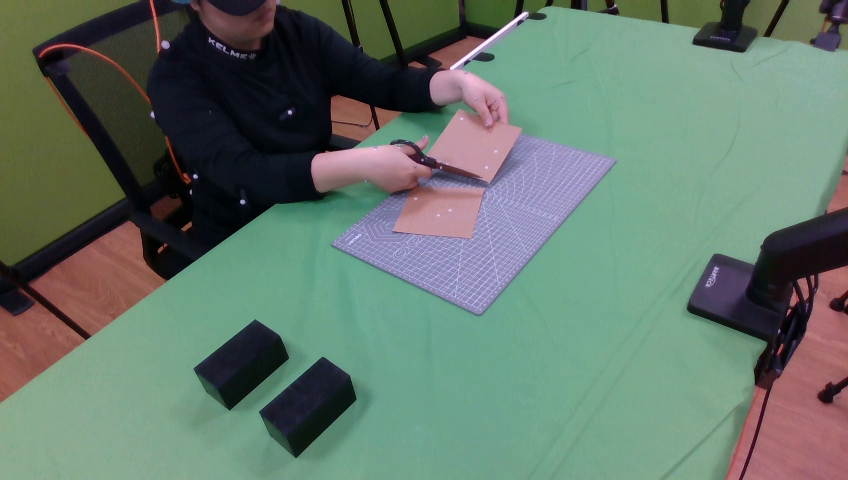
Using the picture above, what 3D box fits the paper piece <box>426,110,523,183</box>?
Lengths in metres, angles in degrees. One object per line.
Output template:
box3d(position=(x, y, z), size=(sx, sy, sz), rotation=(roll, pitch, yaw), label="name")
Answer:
box3d(position=(0.093, -0.176, 1.118), size=(0.135, 0.009, 0.138), rotation=(25, 64, 16), label="paper piece")

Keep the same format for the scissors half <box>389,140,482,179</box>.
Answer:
box3d(position=(0.020, -0.139, 1.059), size=(0.175, 0.040, 0.013), rotation=(22, 59, 5), label="scissors half")

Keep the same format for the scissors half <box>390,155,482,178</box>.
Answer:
box3d(position=(0.020, -0.126, 1.076), size=(0.174, 0.040, 0.013), rotation=(11, 52, 21), label="scissors half")

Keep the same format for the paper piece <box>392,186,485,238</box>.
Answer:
box3d(position=(0.027, -0.051, 1.033), size=(0.135, 0.004, 0.135), rotation=(4, 43, 14), label="paper piece")
